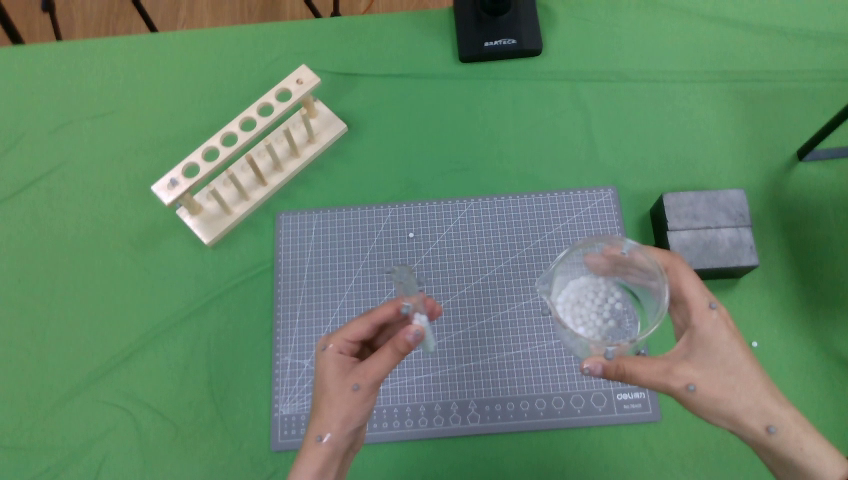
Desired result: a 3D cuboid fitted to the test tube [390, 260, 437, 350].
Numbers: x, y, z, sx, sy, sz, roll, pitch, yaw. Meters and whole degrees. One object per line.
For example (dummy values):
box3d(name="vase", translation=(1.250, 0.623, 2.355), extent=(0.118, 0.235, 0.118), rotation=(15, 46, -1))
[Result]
box3d(name="test tube", translation=(-0.006, 0.057, 0.483), extent=(0.017, 0.151, 0.017), rotation=(-4, 60, 7))

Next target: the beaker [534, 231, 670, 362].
box3d(name="beaker", translation=(0.122, 0.045, 0.428), extent=(0.084, 0.101, 0.073), rotation=(4, 72, 15))

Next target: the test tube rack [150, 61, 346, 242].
box3d(name="test tube rack", translation=(-0.218, -0.114, 0.780), extent=(0.242, 0.086, 0.066), rotation=(-43, 74, -12))
